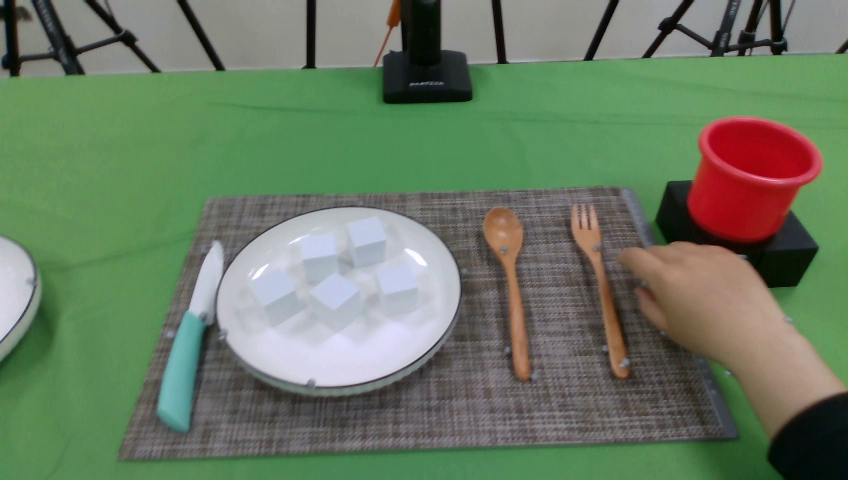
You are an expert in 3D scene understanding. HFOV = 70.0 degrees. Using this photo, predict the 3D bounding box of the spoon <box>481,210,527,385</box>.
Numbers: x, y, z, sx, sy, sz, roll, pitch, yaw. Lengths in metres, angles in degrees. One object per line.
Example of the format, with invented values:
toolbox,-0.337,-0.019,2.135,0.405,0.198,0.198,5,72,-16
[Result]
spoon,0.076,0.044,0.546,0.042,0.022,0.192,13,42,-12

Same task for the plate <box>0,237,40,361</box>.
plate,-0.434,0.075,0.509,0.209,0.038,0.207,0,43,0

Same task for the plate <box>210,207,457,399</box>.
plate,-0.075,0.052,0.528,0.208,0.039,0.205,0,44,0

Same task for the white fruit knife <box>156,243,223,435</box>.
white fruit knife,-0.198,0.073,0.524,0.027,0.016,0.205,19,37,-21

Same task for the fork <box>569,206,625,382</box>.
fork,0.158,0.040,0.553,0.028,0.019,0.205,6,42,-3
